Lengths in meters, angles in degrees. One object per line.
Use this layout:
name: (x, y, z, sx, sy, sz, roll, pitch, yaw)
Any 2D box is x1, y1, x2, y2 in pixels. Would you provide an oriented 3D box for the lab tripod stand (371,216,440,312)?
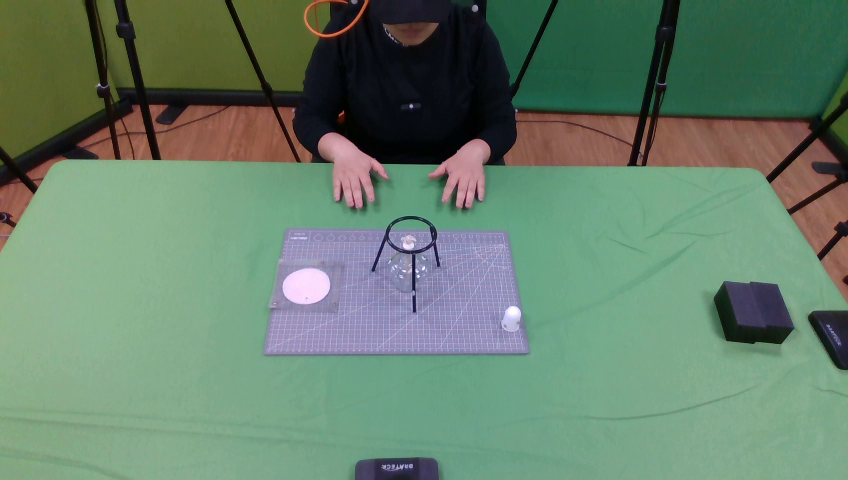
lab tripod stand: (-0.029, 0.033, 1.084, 0.148, 0.132, 0.147, 1, 47, -1)

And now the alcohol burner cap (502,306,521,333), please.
alcohol burner cap: (0.155, 0.137, 1.061, 0.034, 0.048, 0.033, 1, 45, -1)

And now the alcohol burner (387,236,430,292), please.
alcohol burner: (-0.028, 0.038, 1.093, 0.078, 0.120, 0.077, 1, 46, -1)

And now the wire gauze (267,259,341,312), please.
wire gauze: (-0.218, 0.081, 1.110, 0.125, 0.011, 0.120, 1, 46, 0)
